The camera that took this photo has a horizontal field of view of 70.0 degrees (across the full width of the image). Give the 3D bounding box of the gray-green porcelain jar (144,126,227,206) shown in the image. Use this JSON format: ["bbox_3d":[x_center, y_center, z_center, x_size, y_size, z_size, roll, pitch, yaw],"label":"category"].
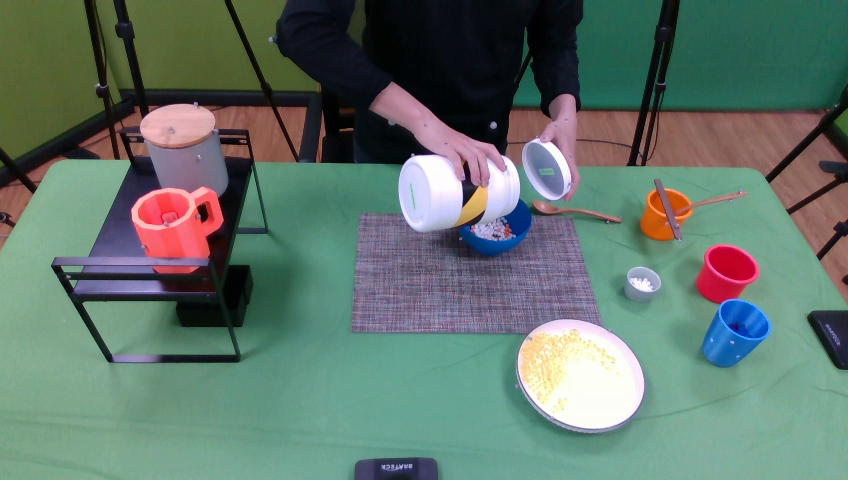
[{"bbox_3d":[-0.375,-0.125,0.967,0.106,0.127,0.105,2,46,-2],"label":"gray-green porcelain jar"}]

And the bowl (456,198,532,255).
[{"bbox_3d":[0.130,-0.025,1.186,0.151,0.077,0.150,2,45,-2],"label":"bowl"}]

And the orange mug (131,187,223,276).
[{"bbox_3d":[-0.354,-0.022,0.887,0.083,0.101,0.126,31,55,24],"label":"orange mug"}]

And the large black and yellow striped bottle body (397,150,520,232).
[{"bbox_3d":[0.061,-0.088,1.047,0.184,0.131,0.130,-9,47,-27],"label":"large black and yellow striped bottle body"}]

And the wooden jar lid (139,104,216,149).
[{"bbox_3d":[-0.372,-0.169,0.920,0.108,0.021,0.107,4,44,-4],"label":"wooden jar lid"}]

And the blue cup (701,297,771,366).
[{"bbox_3d":[0.519,0.162,1.025,0.093,0.101,0.092,3,45,-3],"label":"blue cup"}]

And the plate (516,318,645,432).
[{"bbox_3d":[0.253,0.221,0.993,0.209,0.038,0.208,2,46,-2],"label":"plate"}]

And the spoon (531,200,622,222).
[{"bbox_3d":[0.322,-0.060,1.279,0.194,0.022,0.041,8,32,5],"label":"spoon"}]

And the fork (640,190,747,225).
[{"bbox_3d":[0.533,-0.064,1.211,0.207,0.019,0.028,-22,28,38],"label":"fork"}]

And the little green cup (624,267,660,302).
[{"bbox_3d":[0.406,0.084,1.135,0.061,0.039,0.061,3,46,-3],"label":"little green cup"}]

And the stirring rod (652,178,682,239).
[{"bbox_3d":[0.481,-0.065,1.204,0.014,0.006,0.175,2,46,0],"label":"stirring rod"}]

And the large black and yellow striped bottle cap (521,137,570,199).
[{"bbox_3d":[0.215,-0.128,1.078,0.019,0.115,0.114,-29,54,-17],"label":"large black and yellow striped bottle cap"}]
